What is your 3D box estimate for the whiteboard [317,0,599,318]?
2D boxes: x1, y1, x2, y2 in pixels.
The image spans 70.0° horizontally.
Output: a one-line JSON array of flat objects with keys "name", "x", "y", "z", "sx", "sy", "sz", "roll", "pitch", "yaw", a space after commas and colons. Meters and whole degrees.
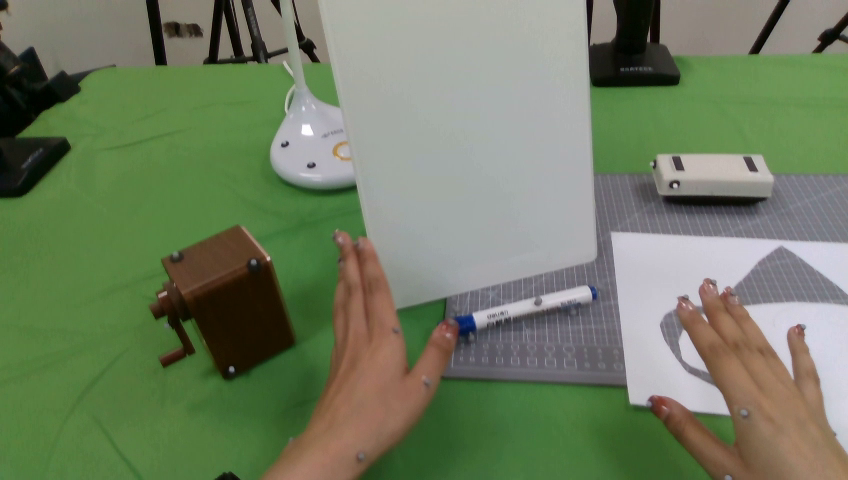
[{"name": "whiteboard", "x": 0.029, "y": -0.115, "z": 0.577, "sx": 0.217, "sy": 0.307, "sz": 0.142, "roll": -13, "pitch": 22, "yaw": -8}]

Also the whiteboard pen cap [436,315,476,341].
[{"name": "whiteboard pen cap", "x": 0.028, "y": 0.076, "z": 0.524, "sx": 0.033, "sy": 0.018, "sz": 0.018, "roll": -13, "pitch": 41, "yaw": -9}]

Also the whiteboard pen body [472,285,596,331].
[{"name": "whiteboard pen body", "x": 0.085, "y": 0.062, "z": 0.533, "sx": 0.141, "sy": 0.017, "sz": 0.017, "roll": -13, "pitch": 41, "yaw": -8}]

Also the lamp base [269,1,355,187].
[{"name": "lamp base", "x": -0.127, "y": -0.179, "z": 0.716, "sx": 0.160, "sy": 0.182, "sz": 0.177, "roll": -33, "pitch": 46, "yaw": -29}]

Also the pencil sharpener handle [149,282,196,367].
[{"name": "pencil sharpener handle", "x": -0.203, "y": 0.068, "z": 0.474, "sx": 0.030, "sy": 0.068, "sz": 0.035, "roll": -29, "pitch": 34, "yaw": -24}]

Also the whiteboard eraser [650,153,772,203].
[{"name": "whiteboard eraser", "x": 0.304, "y": -0.066, "z": 0.648, "sx": 0.112, "sy": 0.042, "sz": 0.055, "roll": 2, "pitch": 42, "yaw": 8}]

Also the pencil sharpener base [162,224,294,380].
[{"name": "pencil sharpener base", "x": -0.163, "y": 0.054, "z": 0.506, "sx": 0.077, "sy": 0.108, "sz": 0.060, "roll": -28, "pitch": 46, "yaw": -24}]
